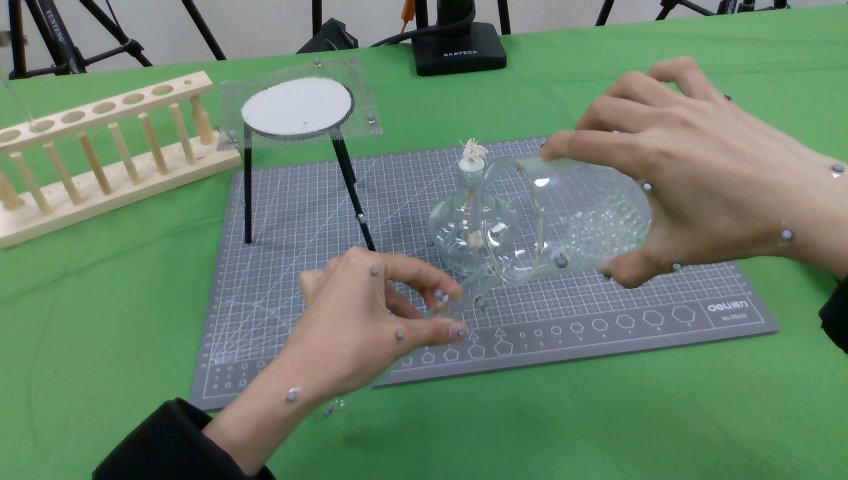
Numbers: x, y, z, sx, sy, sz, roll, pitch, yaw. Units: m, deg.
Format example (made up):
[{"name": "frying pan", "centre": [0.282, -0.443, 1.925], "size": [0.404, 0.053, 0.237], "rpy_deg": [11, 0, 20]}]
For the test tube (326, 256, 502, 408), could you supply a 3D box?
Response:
[{"name": "test tube", "centre": [-0.010, 0.063, 0.393], "size": [0.150, 0.017, 0.017], "rpy_deg": [-41, 43, 15]}]

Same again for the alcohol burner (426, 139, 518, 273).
[{"name": "alcohol burner", "centre": [0.040, -0.030, 0.503], "size": [0.078, 0.120, 0.077], "rpy_deg": [-2, 41, 2]}]

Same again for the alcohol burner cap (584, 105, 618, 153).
[{"name": "alcohol burner cap", "centre": [0.189, -0.120, 0.641], "size": [0.034, 0.048, 0.033], "rpy_deg": [-2, 43, 2]}]

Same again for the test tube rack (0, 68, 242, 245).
[{"name": "test tube rack", "centre": [-0.322, -0.090, 0.616], "size": [0.243, 0.086, 0.066], "rpy_deg": [-24, 47, -20]}]

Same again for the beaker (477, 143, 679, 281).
[{"name": "beaker", "centre": [0.091, -0.018, 0.363], "size": [0.100, 0.084, 0.073], "rpy_deg": [-9, 49, -19]}]

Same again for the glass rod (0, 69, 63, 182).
[{"name": "glass rod", "centre": [-0.374, -0.124, 0.558], "size": [0.008, 0.201, 0.008], "rpy_deg": [-1, 47, 2]}]

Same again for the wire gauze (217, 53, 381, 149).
[{"name": "wire gauze", "centre": [-0.105, -0.113, 0.488], "size": [0.125, 0.011, 0.120], "rpy_deg": [-11, 44, -7]}]

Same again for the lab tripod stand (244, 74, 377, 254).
[{"name": "lab tripod stand", "centre": [-0.101, -0.064, 0.534], "size": [0.148, 0.133, 0.147], "rpy_deg": [-2, 45, 3]}]
